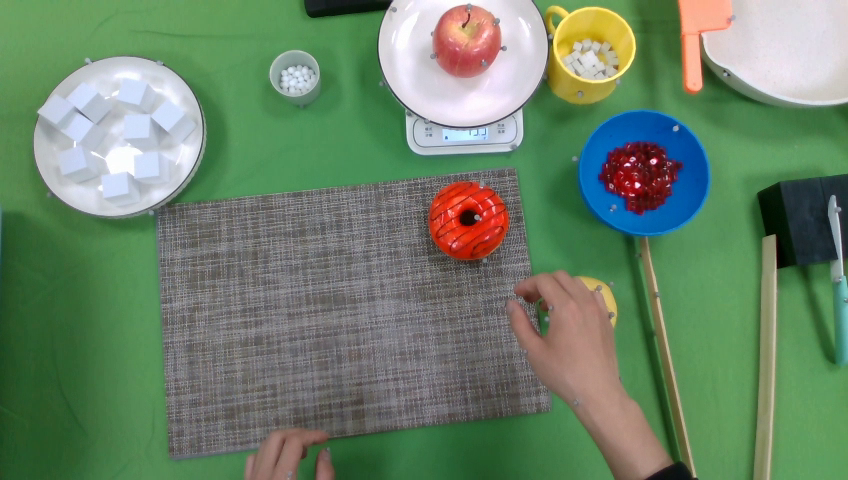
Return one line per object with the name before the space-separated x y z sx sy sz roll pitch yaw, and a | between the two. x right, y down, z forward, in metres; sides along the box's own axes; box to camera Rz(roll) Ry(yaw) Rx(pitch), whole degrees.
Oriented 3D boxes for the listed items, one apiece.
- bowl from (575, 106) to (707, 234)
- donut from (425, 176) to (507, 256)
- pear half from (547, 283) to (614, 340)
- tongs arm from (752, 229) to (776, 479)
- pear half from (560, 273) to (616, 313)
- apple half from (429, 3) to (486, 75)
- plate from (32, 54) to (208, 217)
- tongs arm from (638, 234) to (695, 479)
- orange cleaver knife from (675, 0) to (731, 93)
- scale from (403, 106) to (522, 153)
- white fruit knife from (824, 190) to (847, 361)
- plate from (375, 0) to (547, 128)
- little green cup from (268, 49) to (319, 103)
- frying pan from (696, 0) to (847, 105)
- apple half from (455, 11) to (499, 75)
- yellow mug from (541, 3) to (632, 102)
bowl | 0.249 -0.075 0.729 0.151 0.077 0.151 0 81 0
donut | 0.050 -0.029 0.732 0.099 0.048 0.098 0 81 2
pear half | 0.176 0.085 0.686 0.076 0.110 0.056 24 81 8
tongs arm | 0.393 0.177 0.713 0.028 0.028 0.386 9 81 -6
pear half | 0.194 0.056 0.701 0.070 0.088 0.031 23 81 6
apple half | 0.035 -0.242 0.718 0.053 0.075 0.080 32 84 8
plate | -0.369 -0.127 0.750 0.208 0.039 0.207 0 80 -1
tongs arm | 0.307 0.178 0.710 0.051 0.026 0.383 -6 82 -5
orange cleaver knife | 0.331 -0.281 0.733 0.077 0.012 0.210 -2 81 2
scale | 0.046 -0.213 0.773 0.149 0.031 0.200 -3 81 -1
white fruit knife | 0.484 0.044 0.711 0.016 0.027 0.207 -9 95 -2
plate | 0.045 -0.234 0.743 0.209 0.038 0.208 0 80 -1
little green cup | -0.162 -0.204 0.765 0.061 0.039 0.061 0 80 0
frying pan | 0.522 -0.221 0.743 0.307 0.103 0.485 -34 74 -5
apple half | 0.068 -0.223 0.714 0.032 0.081 0.081 32 81 8
yellow mug | 0.192 -0.245 0.762 0.100 0.064 0.130 -39 82 -6
